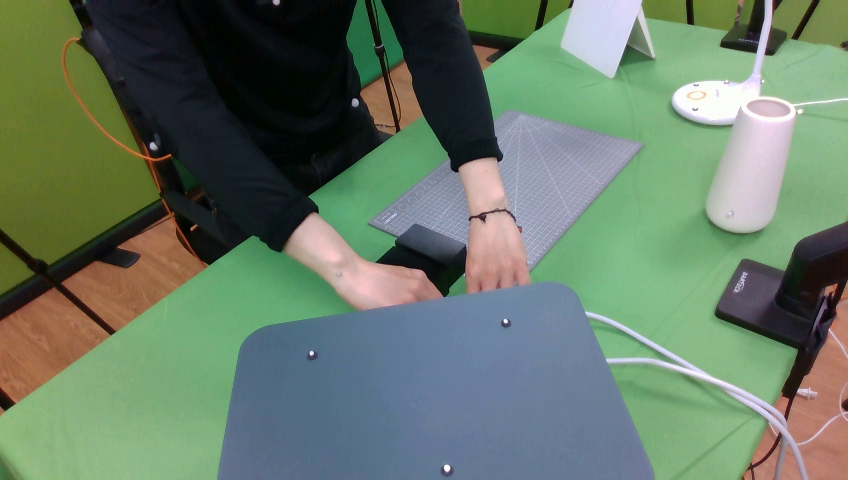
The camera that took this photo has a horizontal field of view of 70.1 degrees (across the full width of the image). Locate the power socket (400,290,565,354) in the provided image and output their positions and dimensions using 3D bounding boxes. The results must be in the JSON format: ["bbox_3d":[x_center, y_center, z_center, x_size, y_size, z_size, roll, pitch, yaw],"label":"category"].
[{"bbox_3d":[0.079,0.111,0.823,0.227,0.033,0.072,-5,41,1],"label":"power socket"}]

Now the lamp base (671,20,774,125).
[{"bbox_3d":[0.581,-0.332,1.154,0.179,0.181,0.160,2,41,7],"label":"lamp base"}]

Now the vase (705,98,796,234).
[{"bbox_3d":[0.480,-0.103,0.889,0.098,0.201,0.097,-4,42,4],"label":"vase"}]

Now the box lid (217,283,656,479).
[{"bbox_3d":[-0.004,0.155,0.568,0.372,0.015,0.261,-8,39,-2],"label":"box lid"}]

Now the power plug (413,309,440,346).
[{"bbox_3d":[0.002,0.121,0.784,0.035,0.053,0.072,3,41,5],"label":"power plug"}]

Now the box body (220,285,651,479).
[{"bbox_3d":[0.005,0.211,0.616,0.364,0.161,0.252,-9,40,-2],"label":"box body"}]

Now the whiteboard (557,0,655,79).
[{"bbox_3d":[0.462,-0.542,1.367,0.145,0.306,0.215,-3,36,-25],"label":"whiteboard"}]
